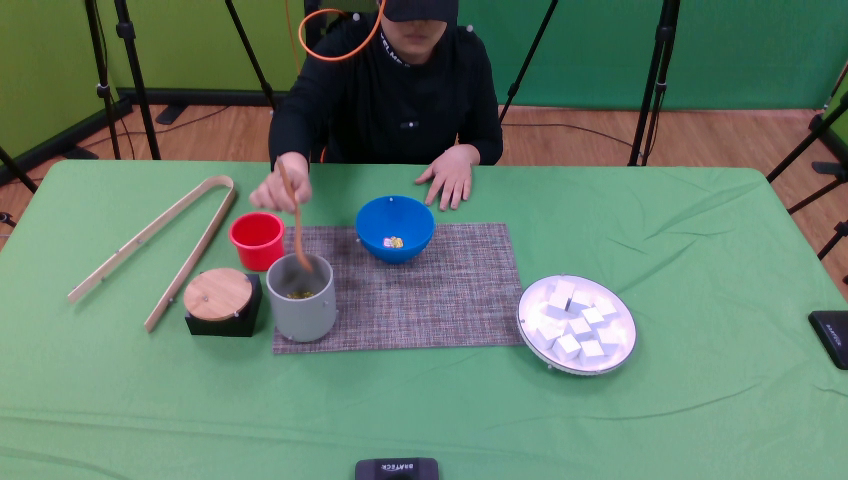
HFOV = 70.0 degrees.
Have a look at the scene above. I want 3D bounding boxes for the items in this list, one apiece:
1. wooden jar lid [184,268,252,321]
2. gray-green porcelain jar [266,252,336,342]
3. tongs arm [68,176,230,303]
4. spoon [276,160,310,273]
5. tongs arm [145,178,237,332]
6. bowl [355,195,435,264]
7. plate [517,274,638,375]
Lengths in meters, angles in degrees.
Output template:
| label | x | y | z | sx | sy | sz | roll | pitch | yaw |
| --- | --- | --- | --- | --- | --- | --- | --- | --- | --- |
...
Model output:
| label | x | y | z | sx | sy | sz | roll | pitch | yaw |
| --- | --- | --- | --- | --- | --- | --- | --- | --- | --- |
| wooden jar lid | -0.343 | 0.092 | 1.015 | 0.108 | 0.021 | 0.107 | 3 | 46 | -3 |
| gray-green porcelain jar | -0.202 | 0.100 | 1.009 | 0.106 | 0.127 | 0.105 | 2 | 46 | -2 |
| tongs arm | -0.510 | -0.011 | 1.162 | 0.050 | 0.026 | 0.383 | 20 | 47 | 14 |
| spoon | -0.204 | -0.034 | 0.949 | 0.021 | 0.194 | 0.041 | -9 | 24 | -9 |
| tongs arm | -0.432 | 0.014 | 1.149 | 0.028 | 0.028 | 0.385 | 8 | 46 | 7 |
| bowl | -0.056 | -0.008 | 1.158 | 0.151 | 0.077 | 0.150 | 2 | 46 | -2 |
| plate | 0.264 | 0.149 | 1.060 | 0.209 | 0.038 | 0.208 | 3 | 46 | -3 |
